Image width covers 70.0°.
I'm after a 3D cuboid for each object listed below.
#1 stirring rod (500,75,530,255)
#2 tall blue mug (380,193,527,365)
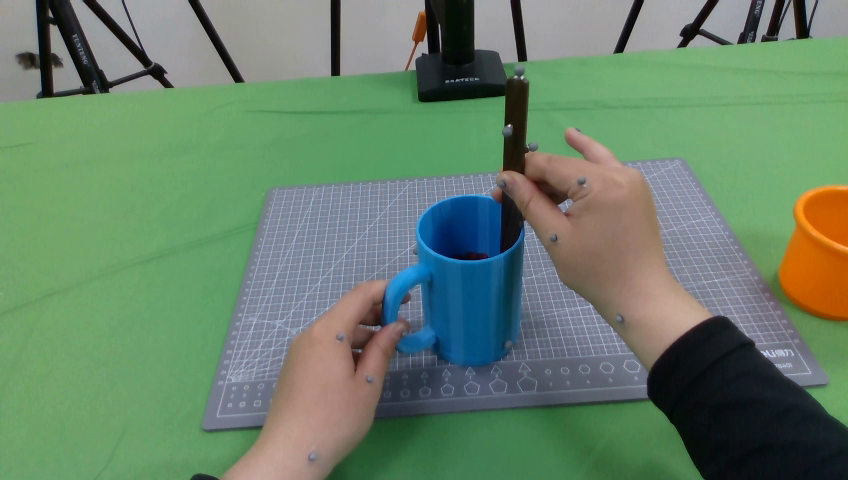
[{"bbox_3d":[0.058,-0.028,0.400,0.014,0.178,0.006,15,47,19],"label":"stirring rod"},{"bbox_3d":[0.027,0.039,0.443,0.077,0.109,0.107,18,46,23],"label":"tall blue mug"}]
